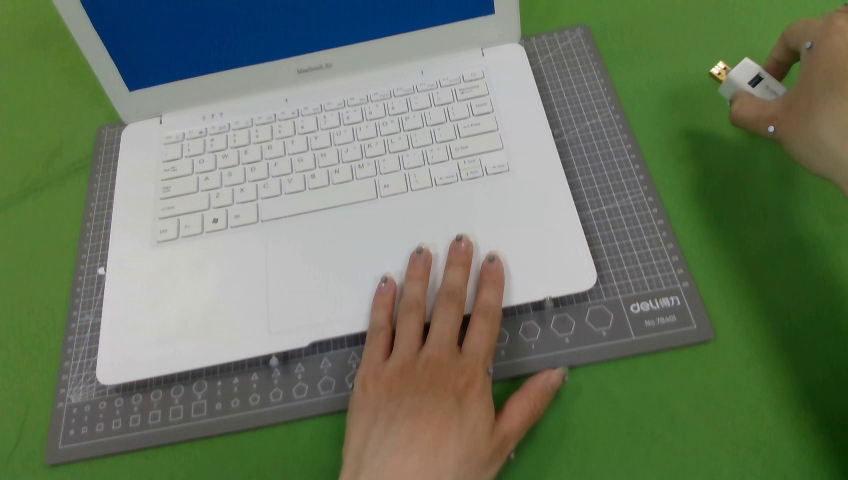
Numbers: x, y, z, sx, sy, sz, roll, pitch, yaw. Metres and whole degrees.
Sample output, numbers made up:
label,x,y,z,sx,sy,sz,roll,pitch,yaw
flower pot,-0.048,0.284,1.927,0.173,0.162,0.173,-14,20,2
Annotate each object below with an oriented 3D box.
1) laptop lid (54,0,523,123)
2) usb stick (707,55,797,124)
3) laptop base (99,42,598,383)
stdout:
label,x,y,z,sx,sy,sz,roll,pitch,yaw
laptop lid,-0.107,-0.217,0.448,0.357,0.244,0.013,-12,42,3
usb stick,0.229,-0.110,0.428,0.021,0.027,0.058,-43,67,-3
laptop base,-0.070,-0.032,0.471,0.354,0.023,0.233,-11,64,2
